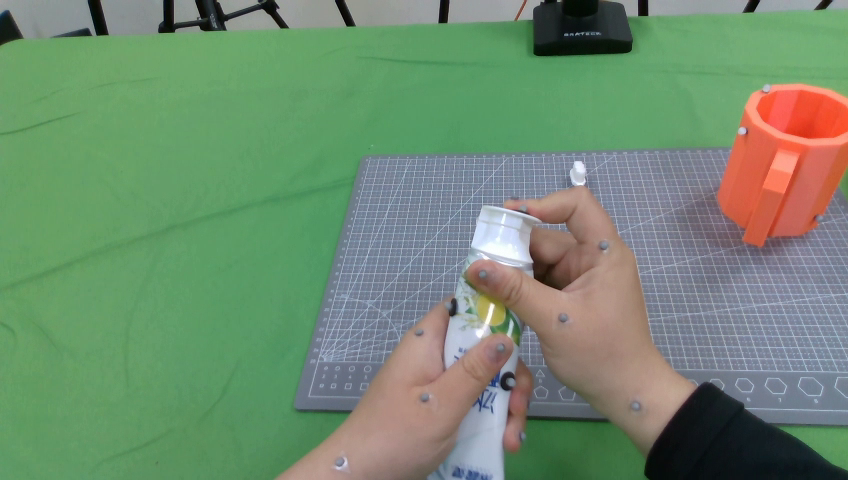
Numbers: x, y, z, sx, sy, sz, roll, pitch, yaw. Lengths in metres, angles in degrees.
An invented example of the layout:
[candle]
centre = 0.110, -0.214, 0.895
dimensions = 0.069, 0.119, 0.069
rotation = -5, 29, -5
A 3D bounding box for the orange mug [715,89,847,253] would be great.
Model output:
[orange mug]
centre = 0.290, -0.051, 0.493
dimensions = 0.083, 0.102, 0.126
rotation = 21, 47, 27

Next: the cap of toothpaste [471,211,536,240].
[cap of toothpaste]
centre = 0.044, -0.007, 0.335
dimensions = 0.037, 0.037, 0.011
rotation = 14, 89, 20

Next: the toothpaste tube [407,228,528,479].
[toothpaste tube]
centre = 0.028, 0.068, 0.331
dimensions = 0.055, 0.035, 0.165
rotation = 8, 85, 22

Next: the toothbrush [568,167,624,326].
[toothbrush]
centre = 0.146, -0.002, 0.520
dimensions = 0.014, 0.017, 0.180
rotation = 4, 46, -5
